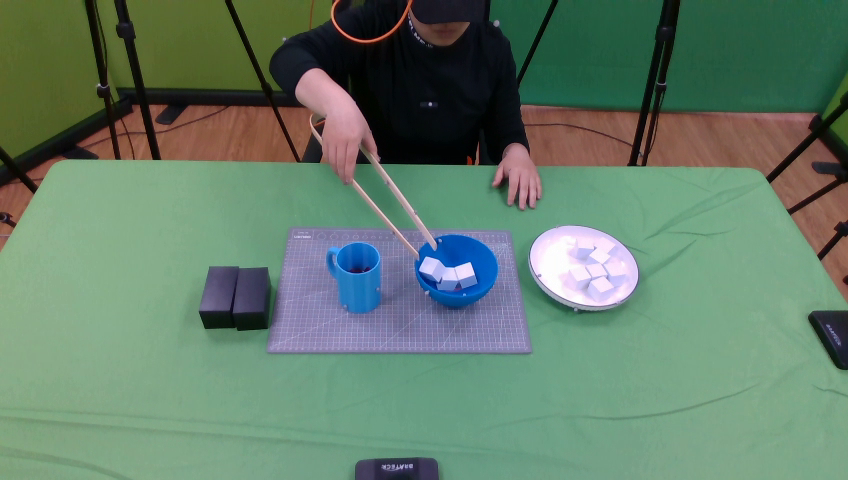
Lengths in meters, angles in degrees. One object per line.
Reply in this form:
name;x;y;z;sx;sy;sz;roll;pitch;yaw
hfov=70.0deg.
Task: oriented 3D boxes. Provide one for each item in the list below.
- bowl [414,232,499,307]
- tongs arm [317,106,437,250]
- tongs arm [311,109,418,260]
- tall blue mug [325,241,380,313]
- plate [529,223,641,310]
bowl;0.056;0.067;1.093;0.151;0.077;0.150;2;46;-2
tongs arm;-0.096;-0.121;1.124;0.051;0.026;0.382;-27;63;-14
tongs arm;-0.117;-0.109;1.117;0.028;0.028;0.385;-32;65;-12
tall blue mug;-0.131;0.063;1.062;0.107;0.108;0.077;9;47;5
plate;0.303;0.053;1.156;0.209;0.038;0.208;2;46;-1
